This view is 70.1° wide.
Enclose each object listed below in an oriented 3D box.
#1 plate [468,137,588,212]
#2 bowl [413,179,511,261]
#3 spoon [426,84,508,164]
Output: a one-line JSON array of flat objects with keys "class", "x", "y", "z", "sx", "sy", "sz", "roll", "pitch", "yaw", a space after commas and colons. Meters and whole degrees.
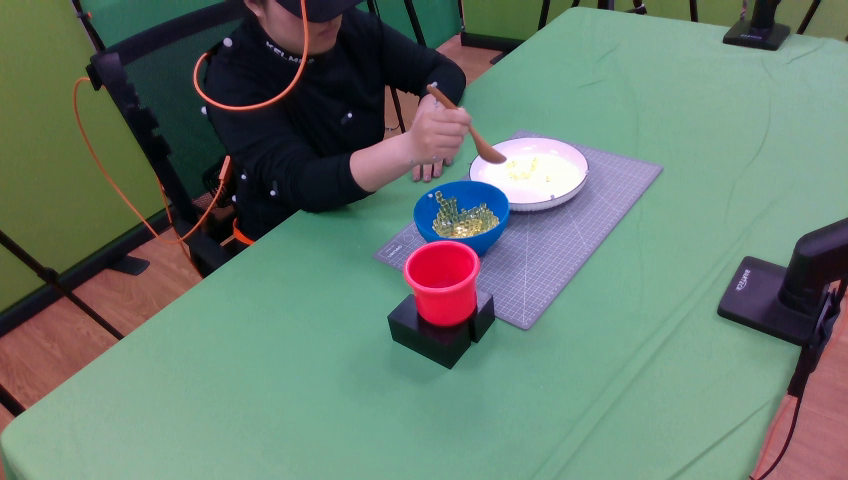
[{"class": "plate", "x": 0.182, "y": -0.112, "z": 1.064, "sx": 0.207, "sy": 0.039, "sz": 0.206, "roll": -5, "pitch": 40, "yaw": 5}, {"class": "bowl", "x": 0.062, "y": -0.021, "z": 0.947, "sx": 0.151, "sy": 0.077, "sz": 0.150, "roll": -5, "pitch": 40, "yaw": 5}, {"class": "spoon", "x": 0.063, "y": -0.168, "z": 0.895, "sx": 0.041, "sy": 0.195, "sz": 0.021, "roll": 2, "pitch": 60, "yaw": 46}]
